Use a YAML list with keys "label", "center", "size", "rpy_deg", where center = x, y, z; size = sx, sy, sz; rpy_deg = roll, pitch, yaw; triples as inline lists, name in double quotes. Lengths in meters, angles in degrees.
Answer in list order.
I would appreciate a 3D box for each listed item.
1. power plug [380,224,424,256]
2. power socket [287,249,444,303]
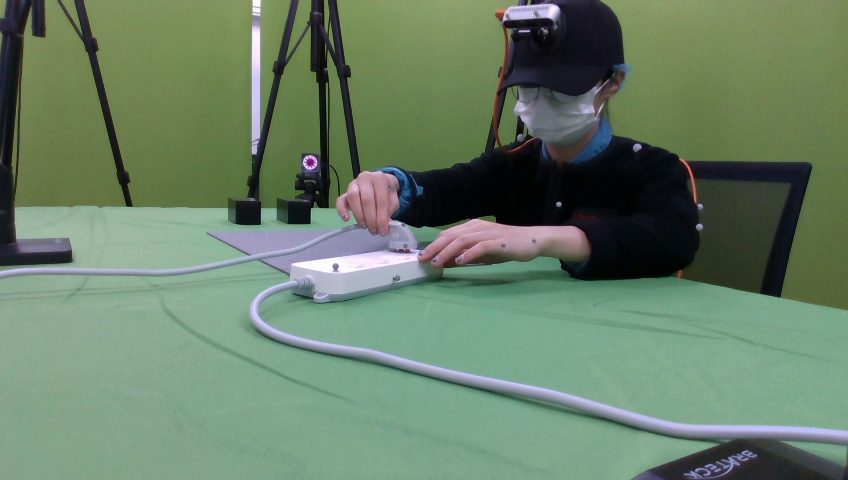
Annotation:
- label: "power plug"
  center: [-0.024, 0.009, 0.729]
  size: [0.053, 0.035, 0.072]
  rpy_deg: [8, 28, -24]
- label: "power socket"
  center: [-0.058, 0.035, 0.688]
  size: [0.072, 0.032, 0.228]
  rpy_deg: [8, 9, 34]
